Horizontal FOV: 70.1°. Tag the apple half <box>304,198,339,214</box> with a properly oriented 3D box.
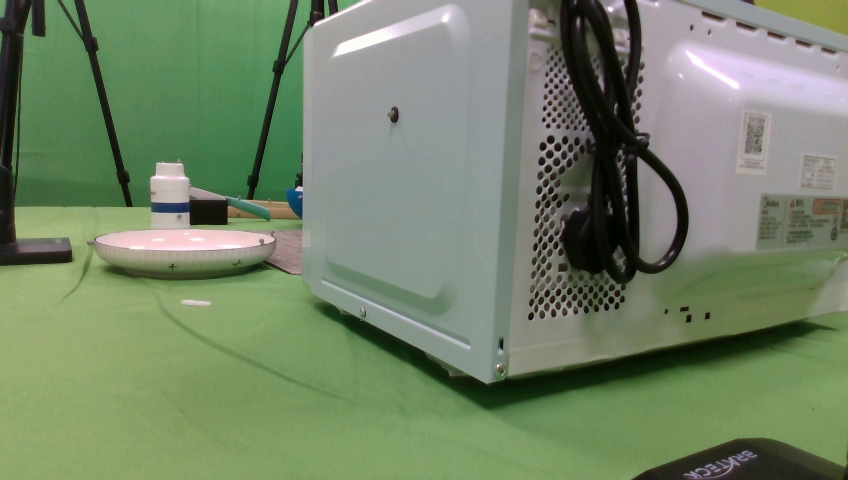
[{"bbox_3d":[-0.217,-0.073,1.274,0.081,0.033,0.081,2,9,0],"label":"apple half"}]

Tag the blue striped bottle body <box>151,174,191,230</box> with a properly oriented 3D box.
[{"bbox_3d":[-0.439,-0.071,1.052,0.063,0.120,0.063,2,7,0],"label":"blue striped bottle body"}]

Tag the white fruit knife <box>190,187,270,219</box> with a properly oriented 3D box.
[{"bbox_3d":[-0.413,-0.081,1.270,0.208,0.027,0.016,17,13,-41],"label":"white fruit knife"}]

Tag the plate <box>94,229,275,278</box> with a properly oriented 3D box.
[{"bbox_3d":[-0.291,0.016,0.749,0.208,0.039,0.207,2,7,0],"label":"plate"}]

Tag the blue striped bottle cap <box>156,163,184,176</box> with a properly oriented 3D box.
[{"bbox_3d":[-0.438,-0.122,1.045,0.044,0.020,0.044,5,6,0],"label":"blue striped bottle cap"}]

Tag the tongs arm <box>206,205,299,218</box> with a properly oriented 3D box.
[{"bbox_3d":[-0.302,-0.065,1.406,0.389,0.028,0.028,1,4,-14],"label":"tongs arm"}]

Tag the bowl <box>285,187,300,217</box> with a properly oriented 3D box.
[{"bbox_3d":[-0.217,-0.069,1.274,0.151,0.077,0.151,2,8,0],"label":"bowl"}]

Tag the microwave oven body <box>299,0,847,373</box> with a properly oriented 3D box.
[{"bbox_3d":[0.152,-0.055,0.542,0.444,0.260,0.324,-2,7,-33],"label":"microwave oven body"}]

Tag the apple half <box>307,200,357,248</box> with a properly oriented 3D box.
[{"bbox_3d":[-0.135,-0.024,0.942,0.053,0.074,0.081,13,9,38],"label":"apple half"}]

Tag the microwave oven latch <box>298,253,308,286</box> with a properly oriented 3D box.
[{"bbox_3d":[-0.081,0.028,0.582,0.079,0.029,0.030,-1,7,-32],"label":"microwave oven latch"}]

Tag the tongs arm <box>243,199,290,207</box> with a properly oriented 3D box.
[{"bbox_3d":[-0.309,-0.079,1.486,0.385,0.026,0.050,3,7,-1],"label":"tongs arm"}]

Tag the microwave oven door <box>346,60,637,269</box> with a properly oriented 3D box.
[{"bbox_3d":[0.086,-0.089,0.752,0.357,0.243,0.039,1,8,-9],"label":"microwave oven door"}]
